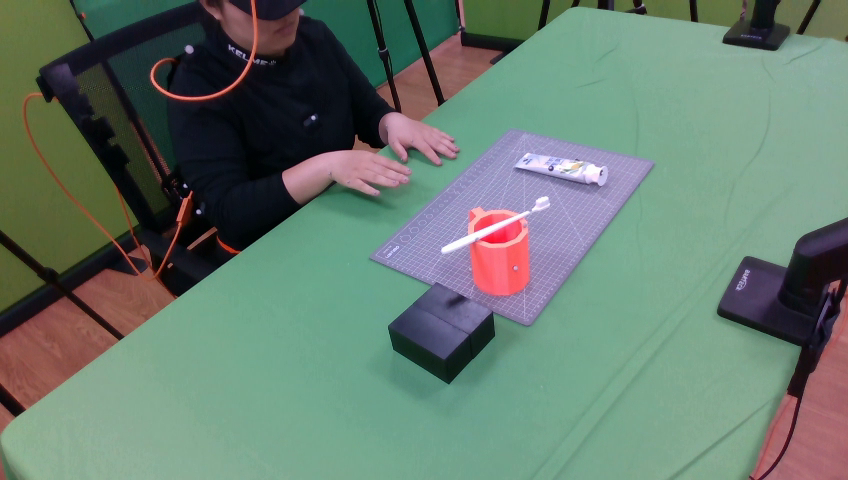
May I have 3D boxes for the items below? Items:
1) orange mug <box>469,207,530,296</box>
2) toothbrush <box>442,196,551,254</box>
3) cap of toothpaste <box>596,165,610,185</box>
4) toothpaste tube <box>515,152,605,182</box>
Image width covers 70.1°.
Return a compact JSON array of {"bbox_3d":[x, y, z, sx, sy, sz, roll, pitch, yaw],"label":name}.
[{"bbox_3d":[0.104,0.008,0.894,0.084,0.101,0.125,-22,46,-14],"label":"orange mug"},{"bbox_3d":[0.104,-0.021,0.846,0.182,0.017,0.014,-25,48,-18],"label":"toothbrush"},{"bbox_3d":[0.307,-0.113,1.041,0.011,0.037,0.037,20,48,39],"label":"cap of toothpaste"},{"bbox_3d":[0.248,-0.133,1.087,0.164,0.034,0.055,17,42,35],"label":"toothpaste tube"}]
